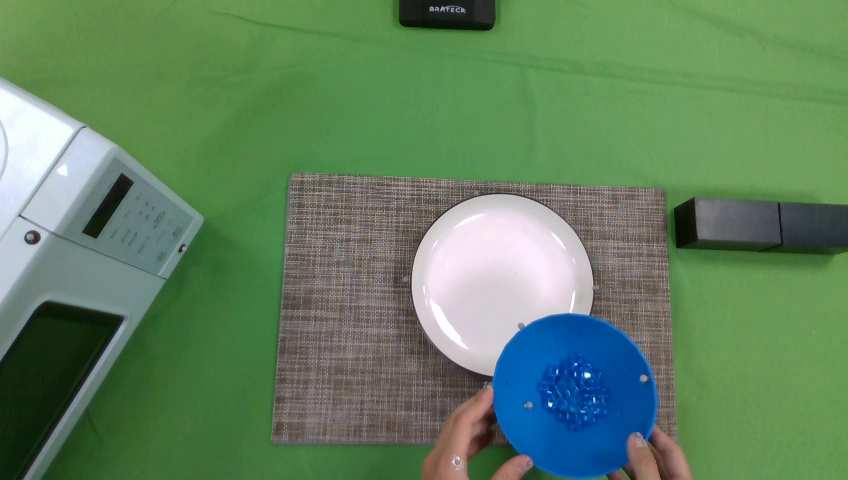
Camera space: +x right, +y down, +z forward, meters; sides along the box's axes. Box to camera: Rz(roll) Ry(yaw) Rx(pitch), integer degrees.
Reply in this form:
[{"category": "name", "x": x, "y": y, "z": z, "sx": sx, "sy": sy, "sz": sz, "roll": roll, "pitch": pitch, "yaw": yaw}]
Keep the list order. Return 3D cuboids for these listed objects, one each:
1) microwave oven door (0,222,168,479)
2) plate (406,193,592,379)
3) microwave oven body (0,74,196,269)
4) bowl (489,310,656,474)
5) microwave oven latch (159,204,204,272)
[{"category": "microwave oven door", "x": -0.368, "y": 0.162, "z": 0.510, "sx": 0.039, "sy": 0.244, "sz": 0.355, "roll": 28, "pitch": 78, "yaw": 2}, {"category": "plate", "x": 0.083, "y": 0.051, "z": 0.683, "sx": 0.208, "sy": 0.039, "sz": 0.206, "roll": 1, "pitch": 79, "yaw": -4}, {"category": "microwave oven body", "x": -0.478, "y": 0.057, "z": 0.526, "sx": 0.326, "sy": 0.261, "sz": 0.440, "roll": 28, "pitch": 79, "yaw": 1}, {"category": "bowl", "x": 0.140, "y": 0.150, "z": 0.594, "sx": 0.151, "sy": 0.077, "sz": 0.150, "roll": -2, "pitch": 70, "yaw": 7}, {"category": "microwave oven latch", "x": -0.270, "y": -0.006, "z": 0.652, "sx": 0.030, "sy": 0.029, "sz": 0.079, "roll": 30, "pitch": 79, "yaw": 1}]
